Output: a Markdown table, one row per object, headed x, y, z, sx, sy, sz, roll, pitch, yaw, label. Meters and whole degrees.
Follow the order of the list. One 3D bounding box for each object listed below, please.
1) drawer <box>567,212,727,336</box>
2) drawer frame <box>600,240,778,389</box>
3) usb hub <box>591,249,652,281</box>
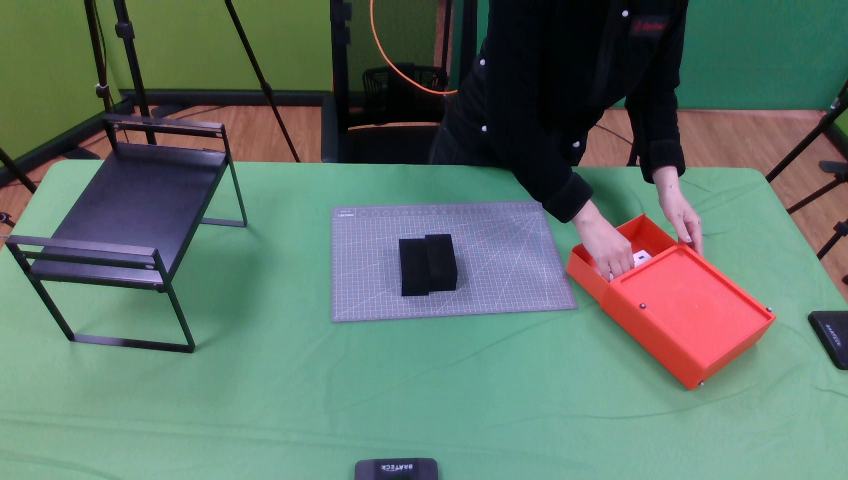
| x | y | z | sx | sy | sz | roll | pitch | yaw | label |
| --- | --- | --- | --- | --- | --- | --- | --- | --- | --- |
| 0.407 | 0.064 | 1.120 | 0.194 | 0.073 | 0.210 | -22 | 51 | -23 | drawer |
| 0.460 | 0.122 | 1.068 | 0.202 | 0.083 | 0.212 | -25 | 53 | -25 | drawer frame |
| 0.384 | 0.049 | 1.154 | 0.125 | 0.025 | 0.049 | -9 | 46 | -20 | usb hub |
